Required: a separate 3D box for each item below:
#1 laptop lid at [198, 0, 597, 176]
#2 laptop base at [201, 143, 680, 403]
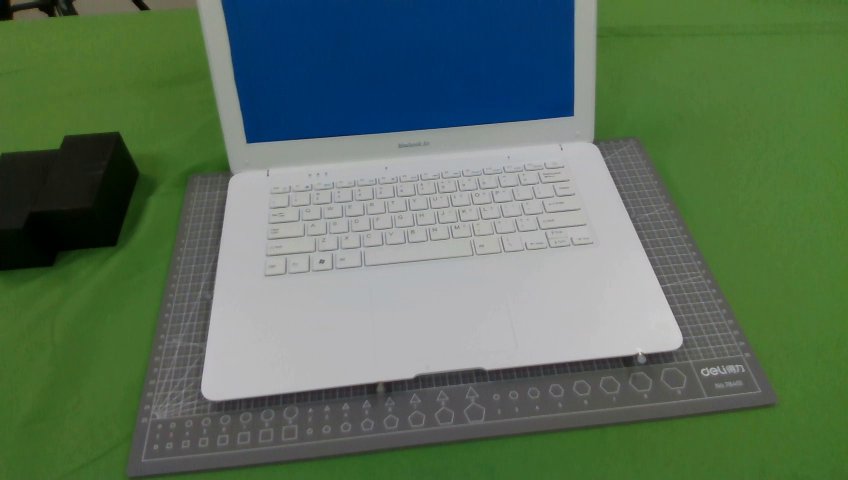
[{"bbox_3d":[-0.016,-0.182,0.548,0.357,0.243,0.013,-7,20,-3],"label":"laptop lid"},{"bbox_3d":[0.005,0.014,0.513,0.355,0.023,0.233,-6,52,-4],"label":"laptop base"}]
